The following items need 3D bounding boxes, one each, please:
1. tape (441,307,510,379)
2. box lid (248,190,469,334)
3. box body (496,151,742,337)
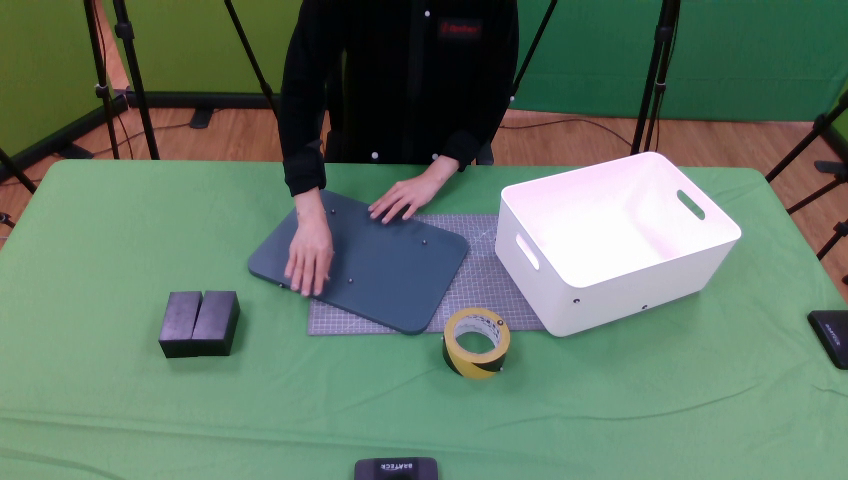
[{"bbox_3d":[0.087,0.172,1.014,0.117,0.053,0.116,2,48,-2],"label":"tape"},{"bbox_3d":[-0.123,0.028,1.167,0.371,0.015,0.262,19,47,14],"label":"box lid"},{"bbox_3d":[0.340,0.003,1.118,0.364,0.161,0.252,-15,49,-18],"label":"box body"}]
